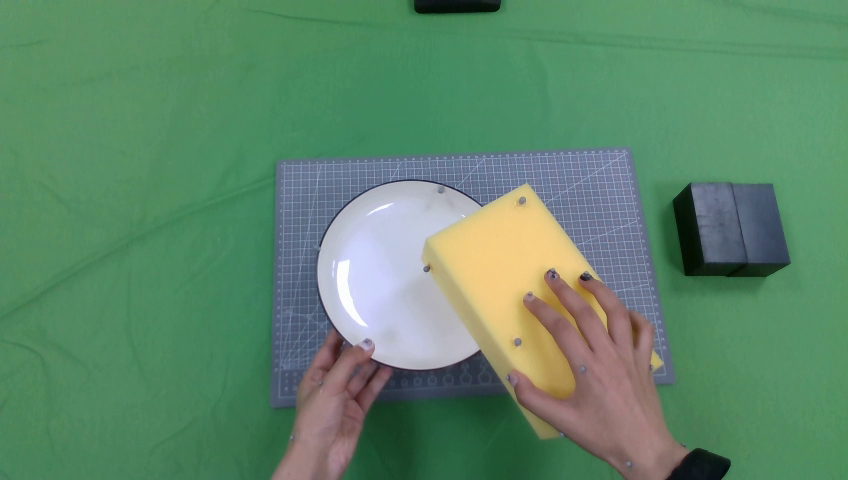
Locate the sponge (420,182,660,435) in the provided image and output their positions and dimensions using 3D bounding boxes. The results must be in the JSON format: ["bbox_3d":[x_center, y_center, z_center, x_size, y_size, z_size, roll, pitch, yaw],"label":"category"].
[{"bbox_3d":[0.102,0.061,0.568,0.118,0.061,0.205,-31,75,-16],"label":"sponge"}]

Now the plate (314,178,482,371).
[{"bbox_3d":[-0.009,0.035,0.634,0.209,0.038,0.207,3,70,-8],"label":"plate"}]
